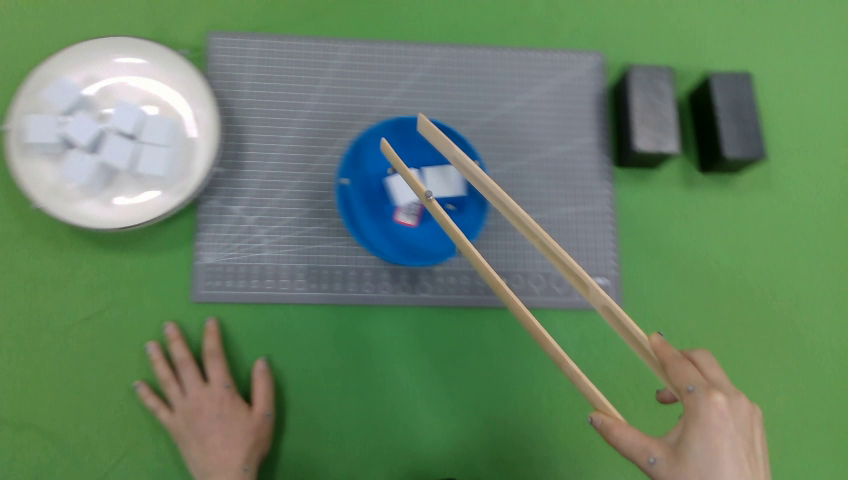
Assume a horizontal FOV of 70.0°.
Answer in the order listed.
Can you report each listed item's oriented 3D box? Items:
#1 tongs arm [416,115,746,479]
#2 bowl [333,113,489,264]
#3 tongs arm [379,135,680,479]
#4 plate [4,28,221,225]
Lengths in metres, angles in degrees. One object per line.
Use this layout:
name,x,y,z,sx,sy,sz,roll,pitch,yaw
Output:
tongs arm,0.111,0.032,0.492,0.028,0.028,0.384,-32,70,-24
bowl,-0.014,-0.044,0.614,0.151,0.077,0.150,1,79,-6
tongs arm,0.089,0.046,0.483,0.051,0.027,0.382,-30,69,-20
plate,-0.311,-0.114,0.621,0.208,0.039,0.206,1,79,-4
